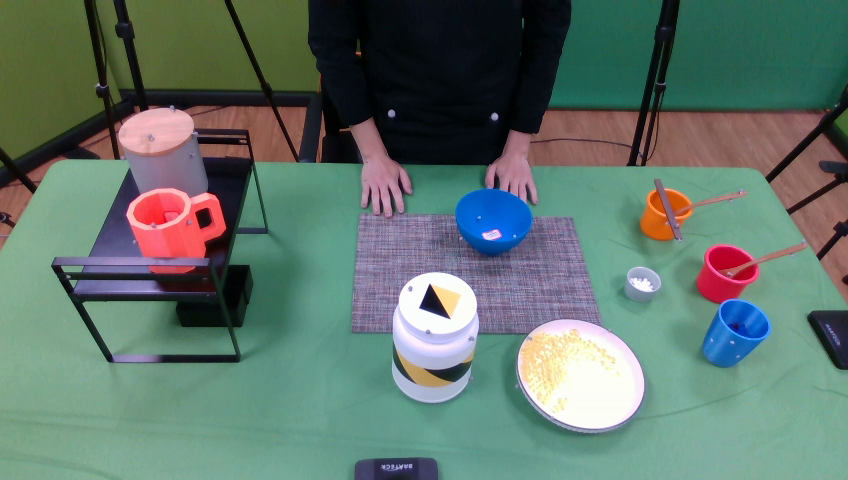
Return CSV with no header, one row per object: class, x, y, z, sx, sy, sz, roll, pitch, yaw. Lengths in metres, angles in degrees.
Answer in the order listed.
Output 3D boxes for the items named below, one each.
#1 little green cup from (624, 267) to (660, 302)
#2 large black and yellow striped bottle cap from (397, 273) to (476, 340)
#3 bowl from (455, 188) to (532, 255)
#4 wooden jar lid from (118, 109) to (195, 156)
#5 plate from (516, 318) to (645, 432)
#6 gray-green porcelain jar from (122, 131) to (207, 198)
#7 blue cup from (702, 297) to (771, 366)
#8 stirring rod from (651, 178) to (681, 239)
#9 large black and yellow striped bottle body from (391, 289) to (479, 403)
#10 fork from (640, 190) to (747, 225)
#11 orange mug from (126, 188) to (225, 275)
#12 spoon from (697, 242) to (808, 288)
little green cup,0.406,0.084,1.135,0.061,0.039,0.061,3,46,-3
large black and yellow striped bottle cap,0.018,0.094,0.878,0.115,0.019,0.114,3,46,-3
bowl,0.131,-0.025,1.186,0.151,0.077,0.150,3,46,-2
wooden jar lid,-0.400,-0.159,0.910,0.108,0.021,0.107,2,47,-2
plate,0.253,0.221,0.992,0.209,0.038,0.208,2,46,-2
gray-green porcelain jar,-0.404,-0.115,0.955,0.106,0.127,0.105,3,46,-3
blue cup,0.519,0.162,1.025,0.093,0.101,0.092,3,45,-3
stirring rod,0.480,-0.065,1.204,0.014,0.006,0.175,3,46,-3
large black and yellow striped bottle body,0.015,0.153,0.938,0.131,0.185,0.130,2,46,-2
fork,0.533,-0.065,1.211,0.207,0.019,0.028,-22,28,38
orange mug,-0.357,-0.020,0.885,0.126,0.101,0.083,-29,54,-23
spoon,0.602,0.045,1.116,0.194,0.022,0.041,-29,33,30
